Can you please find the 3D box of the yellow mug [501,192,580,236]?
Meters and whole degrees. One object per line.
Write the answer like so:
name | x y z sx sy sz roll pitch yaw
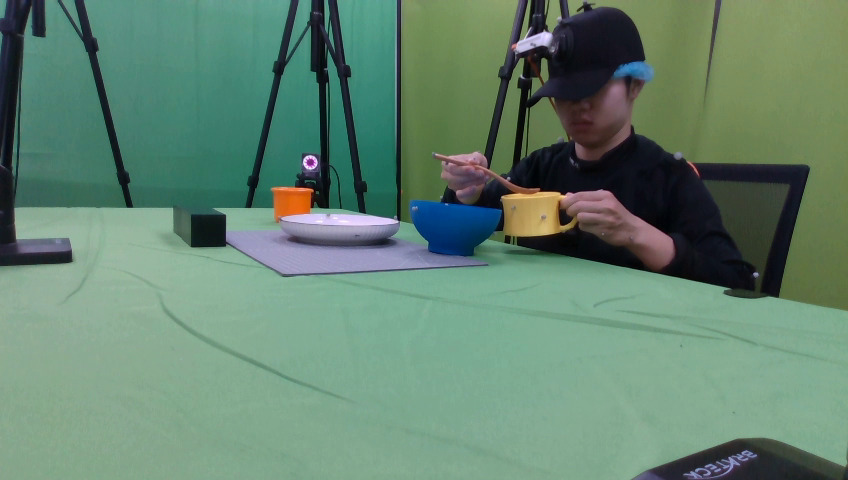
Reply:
yellow mug | 0.195 -0.045 1.014 0.130 0.064 0.100 1 9 23

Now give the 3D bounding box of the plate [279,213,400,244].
plate | -0.147 -0.020 1.060 0.209 0.038 0.209 3 7 0

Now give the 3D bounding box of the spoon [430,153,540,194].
spoon | 0.102 -0.113 1.020 0.194 0.021 0.041 22 8 0

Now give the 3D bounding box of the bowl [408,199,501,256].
bowl | 0.045 -0.019 0.968 0.151 0.077 0.151 6 5 0
